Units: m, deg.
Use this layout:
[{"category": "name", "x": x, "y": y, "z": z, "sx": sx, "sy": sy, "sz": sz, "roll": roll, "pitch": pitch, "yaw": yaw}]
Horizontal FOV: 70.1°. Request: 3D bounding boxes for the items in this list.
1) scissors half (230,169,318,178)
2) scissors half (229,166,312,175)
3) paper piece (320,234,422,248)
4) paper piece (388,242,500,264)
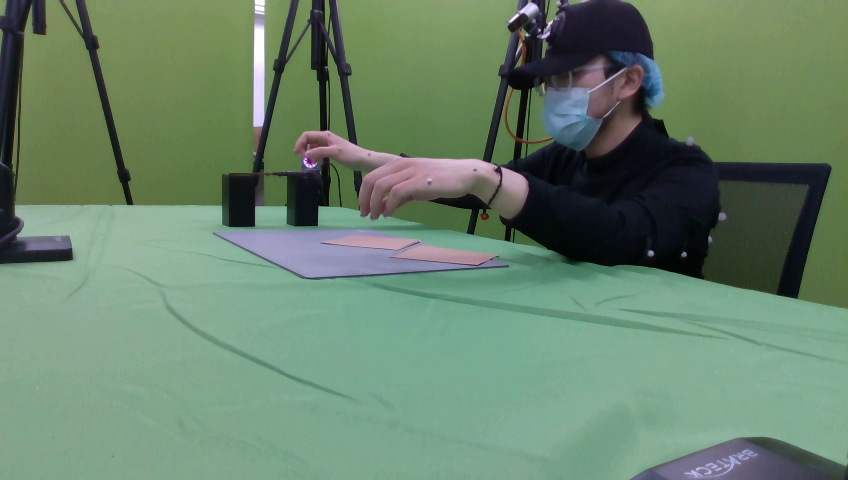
[{"category": "scissors half", "x": -0.298, "y": -0.132, "z": 1.210, "sx": 0.176, "sy": 0.013, "sz": 0.040, "roll": -3, "pitch": 17, "yaw": -25}, {"category": "scissors half", "x": -0.308, "y": -0.139, "z": 1.226, "sx": 0.176, "sy": 0.013, "sz": 0.040, "roll": -9, "pitch": 26, "yaw": -40}, {"category": "paper piece", "x": -0.084, "y": -0.001, "z": 1.018, "sx": 0.135, "sy": 0.004, "sz": 0.136, "roll": 5, "pitch": 8, "yaw": 17}, {"category": "paper piece", "x": 0.034, "y": 0.020, "z": 0.906, "sx": 0.138, "sy": 0.008, "sz": 0.136, "roll": 6, "pitch": 11, "yaw": 20}]
